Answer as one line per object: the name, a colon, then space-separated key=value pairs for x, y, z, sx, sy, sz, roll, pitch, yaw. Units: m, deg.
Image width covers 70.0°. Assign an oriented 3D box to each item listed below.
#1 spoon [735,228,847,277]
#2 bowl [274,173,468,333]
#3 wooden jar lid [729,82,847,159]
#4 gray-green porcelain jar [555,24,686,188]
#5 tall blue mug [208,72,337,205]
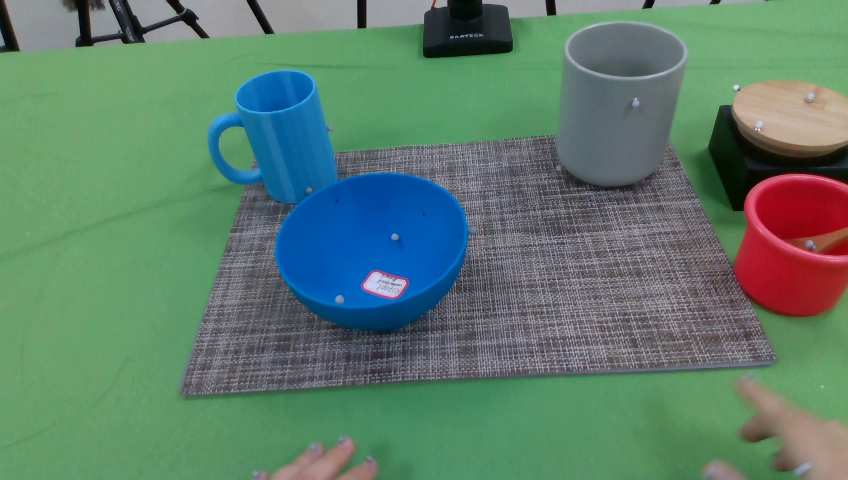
spoon: x=0.325 y=-0.006 z=0.439 sx=0.022 sy=0.193 sz=0.041 roll=47 pitch=50 yaw=-13
bowl: x=-0.038 y=0.022 z=0.491 sx=0.151 sy=0.077 sz=0.150 roll=-3 pitch=45 yaw=3
wooden jar lid: x=0.338 y=-0.109 z=0.557 sx=0.108 sy=0.021 sz=0.107 roll=-4 pitch=45 yaw=4
gray-green porcelain jar: x=0.180 y=-0.122 z=0.577 sx=0.106 sy=0.128 sz=0.105 roll=-3 pitch=45 yaw=4
tall blue mug: x=-0.145 y=-0.091 z=0.595 sx=0.107 sy=0.109 sz=0.077 roll=-37 pitch=53 yaw=-27
